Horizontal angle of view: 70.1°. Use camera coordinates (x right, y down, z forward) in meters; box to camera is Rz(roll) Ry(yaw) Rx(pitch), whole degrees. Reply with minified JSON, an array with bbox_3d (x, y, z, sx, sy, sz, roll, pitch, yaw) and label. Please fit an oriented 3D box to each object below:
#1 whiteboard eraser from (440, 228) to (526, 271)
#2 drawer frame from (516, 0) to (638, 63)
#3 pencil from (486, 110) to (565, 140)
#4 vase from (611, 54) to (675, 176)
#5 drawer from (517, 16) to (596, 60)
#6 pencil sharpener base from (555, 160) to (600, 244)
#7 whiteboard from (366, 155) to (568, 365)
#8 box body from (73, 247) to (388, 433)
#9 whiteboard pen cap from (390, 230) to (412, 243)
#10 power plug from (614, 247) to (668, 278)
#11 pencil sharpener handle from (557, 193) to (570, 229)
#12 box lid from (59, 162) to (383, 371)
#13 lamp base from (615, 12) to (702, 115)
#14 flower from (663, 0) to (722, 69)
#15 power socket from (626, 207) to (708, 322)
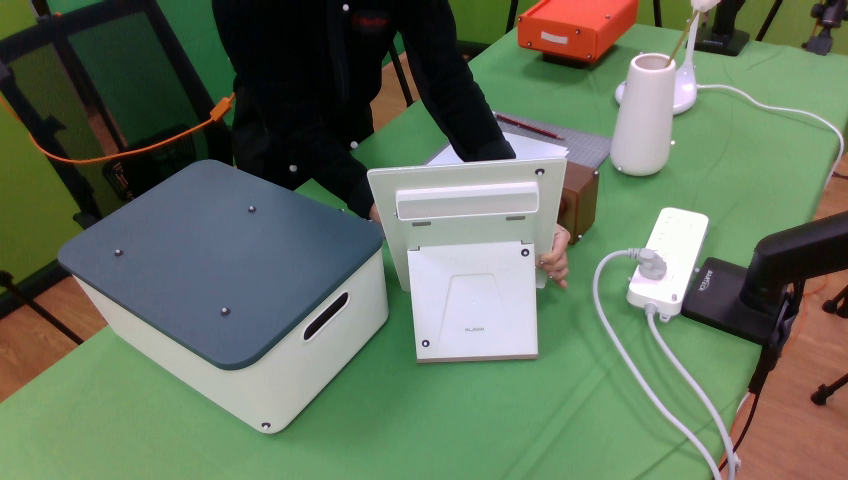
[{"bbox_3d":[0.084,0.017,0.852,0.112,0.056,0.041,-10,64,15],"label":"whiteboard eraser"},{"bbox_3d":[0.355,-0.508,1.410,0.200,0.083,0.214,23,51,32],"label":"drawer frame"},{"bbox_3d":[0.204,-0.232,1.226,0.192,0.012,0.012,29,52,33],"label":"pencil"},{"bbox_3d":[0.377,-0.209,1.031,0.098,0.201,0.097,-3,40,3],"label":"vase"},{"bbox_3d":[0.352,-0.506,1.405,0.193,0.073,0.212,23,49,32],"label":"drawer"},{"bbox_3d":[0.228,-0.057,0.945,0.061,0.107,0.077,24,50,31],"label":"pencil sharpener base"},{"bbox_3d":[0.059,0.050,0.738,0.217,0.307,0.143,-3,60,5],"label":"whiteboard"},{"bbox_3d":[-0.255,0.065,0.827,0.361,0.161,0.255,21,48,29],"label":"box body"},{"bbox_3d":[-0.037,-0.006,0.980,0.033,0.018,0.018,9,43,17],"label":"whiteboard pen cap"},{"bbox_3d":[0.306,0.031,0.851,0.072,0.053,0.035,24,49,33],"label":"power plug"},{"bbox_3d":[0.195,-0.038,0.908,0.035,0.068,0.031,24,50,31],"label":"pencil sharpener handle"},{"bbox_3d":[-0.262,0.010,0.777,0.369,0.015,0.264,21,48,29],"label":"box lid"},{"bbox_3d":[0.484,-0.363,1.211,0.180,0.181,0.159,-15,41,-14],"label":"lamp base"},{"bbox_3d":[0.379,-0.261,0.965,0.044,0.362,0.038,20,53,5],"label":"flower"},{"bbox_3d":[0.359,0.026,0.886,0.072,0.033,0.227,16,46,26],"label":"power socket"}]
